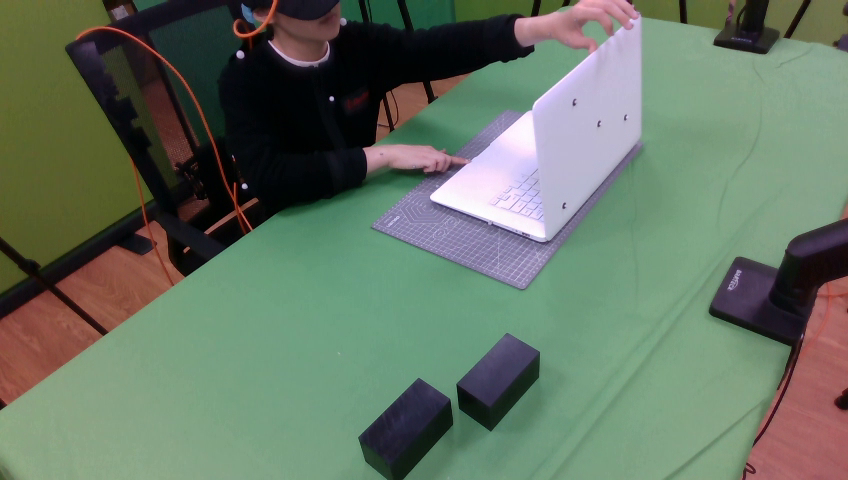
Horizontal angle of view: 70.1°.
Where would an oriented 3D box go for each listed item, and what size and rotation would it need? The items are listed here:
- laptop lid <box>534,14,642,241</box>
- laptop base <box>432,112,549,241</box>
[{"bbox_3d":[0.277,-0.185,0.966,0.013,0.243,0.358,17,44,36],"label":"laptop lid"},{"bbox_3d":[0.208,-0.128,1.098,0.233,0.023,0.355,20,47,34],"label":"laptop base"}]
